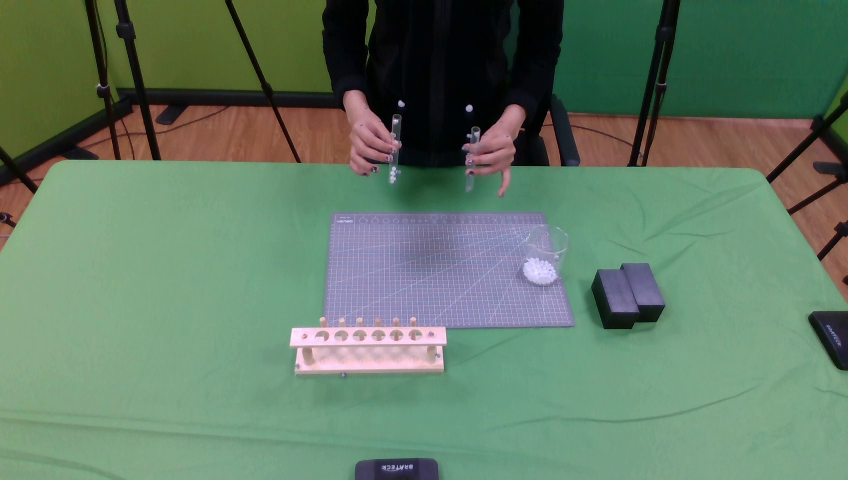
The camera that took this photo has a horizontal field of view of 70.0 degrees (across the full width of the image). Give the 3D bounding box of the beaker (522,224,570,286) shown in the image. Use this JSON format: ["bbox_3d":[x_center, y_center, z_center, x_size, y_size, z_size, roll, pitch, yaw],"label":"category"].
[{"bbox_3d":[0.221,0.032,1.129,0.084,0.101,0.073,-6,46,-9],"label":"beaker"}]

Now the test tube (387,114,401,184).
[{"bbox_3d":[-0.055,-0.160,1.085,0.017,0.151,0.017,4,45,-4],"label":"test tube"}]

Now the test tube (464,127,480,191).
[{"bbox_3d":[0.087,-0.144,1.097,0.017,0.151,0.017,1,51,-1],"label":"test tube"}]

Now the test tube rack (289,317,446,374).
[{"bbox_3d":[-0.089,0.167,0.988,0.242,0.085,0.066,0,46,-4],"label":"test tube rack"}]
